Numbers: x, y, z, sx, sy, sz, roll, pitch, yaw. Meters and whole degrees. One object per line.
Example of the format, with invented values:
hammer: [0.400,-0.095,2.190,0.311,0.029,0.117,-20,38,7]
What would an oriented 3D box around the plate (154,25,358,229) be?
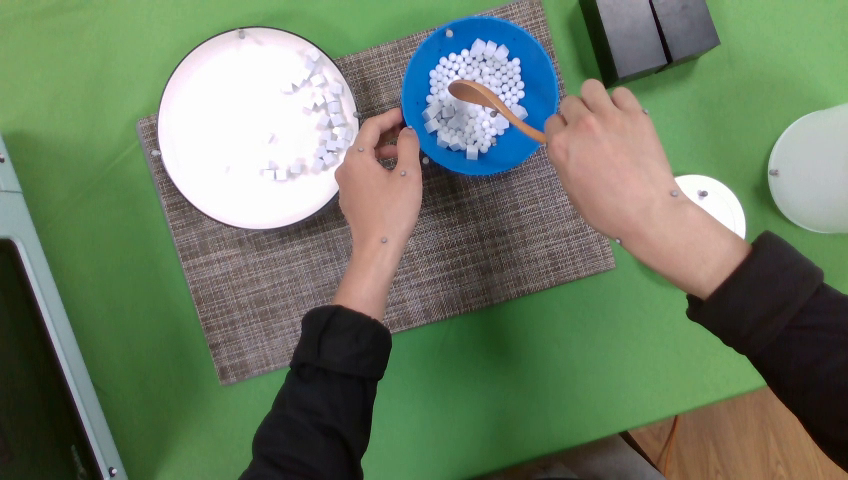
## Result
plate: [-0.171,-0.115,0.634,0.209,0.038,0.209,0,92,0]

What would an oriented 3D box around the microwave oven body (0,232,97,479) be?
microwave oven body: [-0.536,0.132,0.538,0.326,0.260,0.442,-19,93,1]

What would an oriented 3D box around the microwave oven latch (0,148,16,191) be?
microwave oven latch: [-0.453,-0.086,0.623,0.030,0.029,0.079,-19,93,1]

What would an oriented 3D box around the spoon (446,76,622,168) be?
spoon: [0.093,-0.106,0.542,0.192,0.042,0.021,39,91,31]

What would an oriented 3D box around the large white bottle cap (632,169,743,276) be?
large white bottle cap: [0.282,-0.018,0.649,0.115,0.018,0.115,0,93,-1]

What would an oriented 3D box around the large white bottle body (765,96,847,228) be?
large white bottle body: [0.425,-0.076,0.561,0.130,0.184,0.130,0,92,1]

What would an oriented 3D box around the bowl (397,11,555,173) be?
bowl: [0.050,-0.141,0.611,0.151,0.077,0.151,0,93,1]

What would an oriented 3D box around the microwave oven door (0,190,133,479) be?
microwave oven door: [-0.384,0.124,0.531,0.039,0.243,0.356,-20,92,2]
